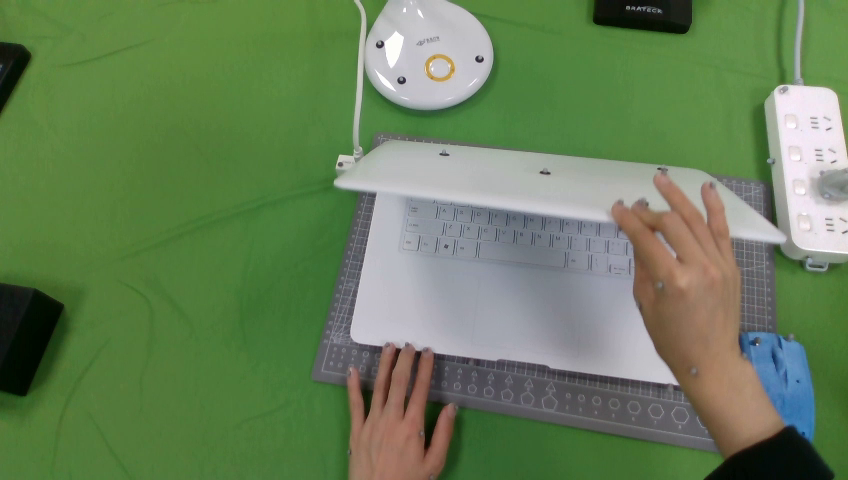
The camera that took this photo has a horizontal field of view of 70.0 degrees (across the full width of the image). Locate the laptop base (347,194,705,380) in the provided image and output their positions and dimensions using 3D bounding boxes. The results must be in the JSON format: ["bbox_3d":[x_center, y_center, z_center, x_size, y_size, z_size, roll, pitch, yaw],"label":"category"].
[{"bbox_3d":[0.111,0.012,0.641,0.354,0.023,0.234,6,70,5],"label":"laptop base"}]

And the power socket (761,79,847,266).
[{"bbox_3d":[0.416,-0.082,0.661,0.072,0.033,0.225,6,67,4],"label":"power socket"}]

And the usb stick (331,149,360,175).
[{"bbox_3d":[-0.071,-0.083,0.674,0.059,0.027,0.021,11,63,4],"label":"usb stick"}]

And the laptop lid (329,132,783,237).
[{"bbox_3d":[0.111,-0.063,0.568,0.356,0.240,0.013,7,111,7],"label":"laptop lid"}]

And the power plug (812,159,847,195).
[{"bbox_3d":[0.440,-0.059,0.625,0.072,0.053,0.035,16,67,7],"label":"power plug"}]

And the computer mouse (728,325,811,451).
[{"bbox_3d":[0.322,0.135,0.566,0.062,0.041,0.116,11,63,9],"label":"computer mouse"}]

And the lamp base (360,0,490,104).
[{"bbox_3d":[-0.009,-0.276,0.682,0.160,0.181,0.177,-28,65,-10],"label":"lamp base"}]
